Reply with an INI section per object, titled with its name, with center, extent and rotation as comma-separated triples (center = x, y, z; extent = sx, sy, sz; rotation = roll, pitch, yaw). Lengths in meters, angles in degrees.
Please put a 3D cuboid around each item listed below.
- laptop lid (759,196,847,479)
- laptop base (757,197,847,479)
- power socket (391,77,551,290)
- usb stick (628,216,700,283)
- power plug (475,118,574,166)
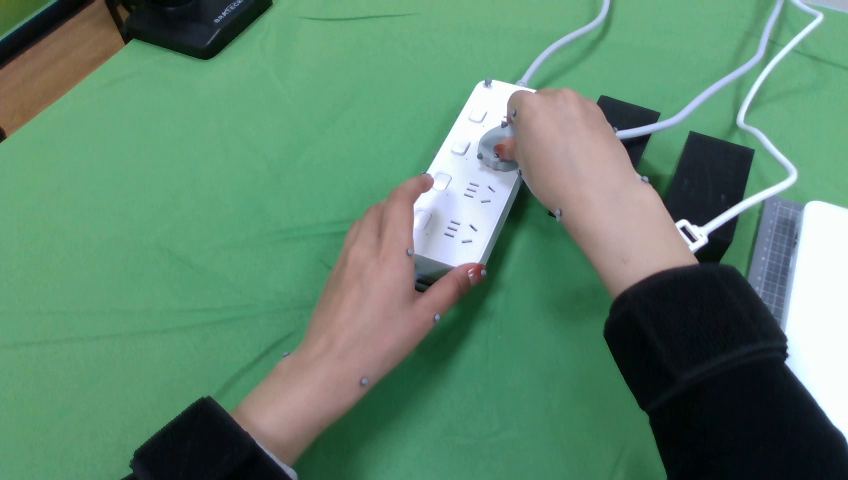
[laptop lid]
center = 0.402, 0.108, 0.367
extent = 0.355, 0.013, 0.240
rotation = 22, 59, 16
[laptop base]
center = 0.404, 0.113, 0.377
extent = 0.353, 0.023, 0.234
rotation = 20, 60, 15
[power socket]
center = 0.044, -0.057, 0.498
extent = 0.072, 0.033, 0.225
rotation = 19, 55, 13
[usb stick]
center = 0.158, 0.010, 0.408
extent = 0.027, 0.059, 0.021
rotation = -28, 69, -21
[power plug]
center = 0.074, -0.066, 0.479
extent = 0.072, 0.053, 0.035
rotation = 32, 61, 16
